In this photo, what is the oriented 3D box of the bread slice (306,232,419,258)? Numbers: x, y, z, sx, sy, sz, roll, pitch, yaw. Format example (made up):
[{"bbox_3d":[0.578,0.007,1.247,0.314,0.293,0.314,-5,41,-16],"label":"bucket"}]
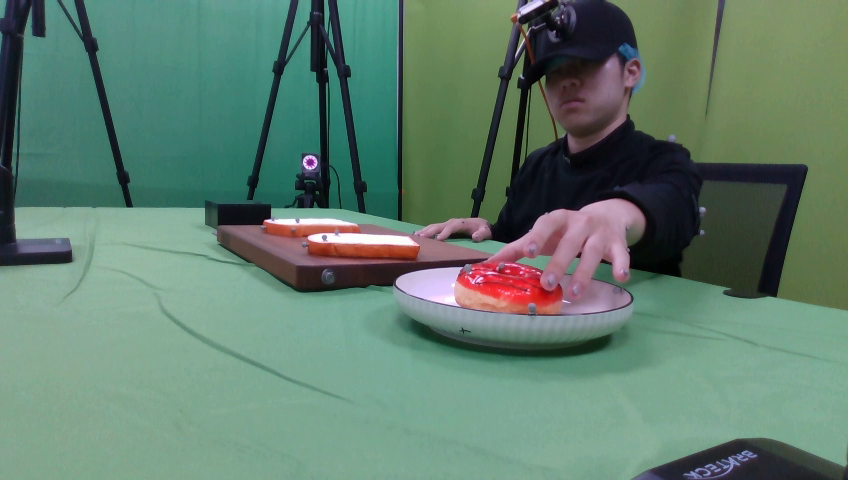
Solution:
[{"bbox_3d":[-0.077,0.005,0.747,0.135,0.018,0.106,2,7,-12],"label":"bread slice"}]

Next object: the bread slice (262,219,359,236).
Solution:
[{"bbox_3d":[-0.179,-0.021,0.931,0.132,0.019,0.104,-1,7,-35],"label":"bread slice"}]

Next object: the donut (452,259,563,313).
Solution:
[{"bbox_3d":[0.073,0.045,0.536,0.099,0.048,0.099,6,8,-1],"label":"donut"}]

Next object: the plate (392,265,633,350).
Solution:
[{"bbox_3d":[0.074,0.057,0.533,0.209,0.038,0.209,2,7,0],"label":"plate"}]
